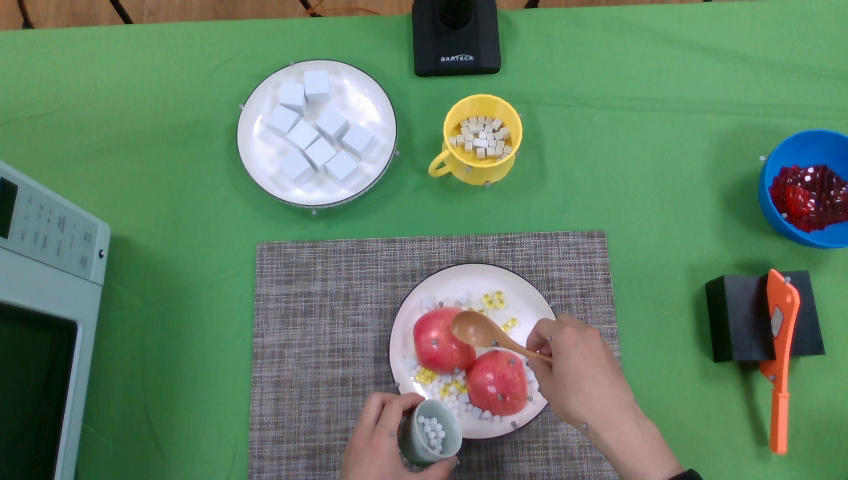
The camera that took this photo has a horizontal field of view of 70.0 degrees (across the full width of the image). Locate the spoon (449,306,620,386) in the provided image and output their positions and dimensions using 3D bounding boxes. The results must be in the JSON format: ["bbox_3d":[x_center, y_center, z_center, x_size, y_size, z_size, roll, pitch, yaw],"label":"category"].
[{"bbox_3d":[0.108,0.113,0.630,0.192,0.022,0.042,19,103,35],"label":"spoon"}]

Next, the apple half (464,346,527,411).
[{"bbox_3d":[0.085,0.163,0.711,0.081,0.033,0.081,0,73,1],"label":"apple half"}]

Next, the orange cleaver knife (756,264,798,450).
[{"bbox_3d":[0.406,0.135,0.705,0.012,0.077,0.212,-1,99,4],"label":"orange cleaver knife"}]

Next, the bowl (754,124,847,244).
[{"bbox_3d":[0.477,-0.060,0.756,0.151,0.077,0.150,0,76,0],"label":"bowl"}]

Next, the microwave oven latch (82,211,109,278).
[{"bbox_3d":[-0.409,0.005,0.741,0.030,0.029,0.079,3,76,0],"label":"microwave oven latch"}]

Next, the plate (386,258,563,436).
[{"bbox_3d":[0.058,0.126,0.726,0.209,0.038,0.208,0,76,0],"label":"plate"}]

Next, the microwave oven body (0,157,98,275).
[{"bbox_3d":[-0.561,0.149,0.605,0.326,0.261,0.439,1,76,0],"label":"microwave oven body"}]

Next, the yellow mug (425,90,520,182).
[{"bbox_3d":[0.057,-0.125,0.779,0.131,0.064,0.099,-33,78,-7],"label":"yellow mug"}]

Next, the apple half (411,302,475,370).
[{"bbox_3d":[0.021,0.112,0.714,0.074,0.053,0.080,-4,76,1],"label":"apple half"}]

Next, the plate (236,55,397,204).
[{"bbox_3d":[-0.138,-0.143,0.799,0.208,0.039,0.206,0,76,0],"label":"plate"}]

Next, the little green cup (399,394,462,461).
[{"bbox_3d":[0.005,0.196,0.628,0.062,0.039,0.061,19,40,-16],"label":"little green cup"}]

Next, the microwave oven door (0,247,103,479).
[{"bbox_3d":[-0.416,0.192,0.590,0.039,0.245,0.354,1,75,1],"label":"microwave oven door"}]
